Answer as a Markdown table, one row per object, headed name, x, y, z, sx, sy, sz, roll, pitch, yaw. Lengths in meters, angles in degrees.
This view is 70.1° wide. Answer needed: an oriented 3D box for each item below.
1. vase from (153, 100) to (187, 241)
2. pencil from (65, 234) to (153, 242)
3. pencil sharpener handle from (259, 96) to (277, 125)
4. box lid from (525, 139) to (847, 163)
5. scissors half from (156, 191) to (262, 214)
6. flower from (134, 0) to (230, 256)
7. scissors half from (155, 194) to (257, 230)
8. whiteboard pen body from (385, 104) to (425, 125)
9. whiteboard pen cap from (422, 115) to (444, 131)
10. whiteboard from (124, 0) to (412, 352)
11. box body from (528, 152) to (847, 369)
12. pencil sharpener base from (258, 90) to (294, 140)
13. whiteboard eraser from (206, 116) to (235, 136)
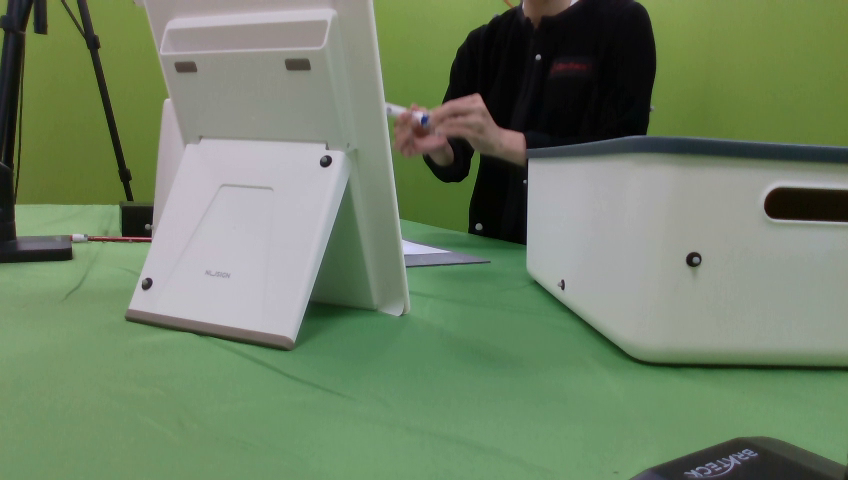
| name | x | y | z | sx | sy | sz | roll | pitch | yaw |
| --- | --- | --- | --- | --- | --- | --- | --- | --- | --- |
| vase | -0.278 | -0.066 | 0.736 | 0.098 | 0.200 | 0.098 | 2 | 9 | 0 |
| pencil | -0.429 | -0.001 | 0.911 | 0.195 | 0.012 | 0.012 | 1 | 8 | -19 |
| pencil sharpener handle | -0.373 | -0.304 | 1.425 | 0.036 | 0.067 | 0.030 | 13 | -1 | -37 |
| box lid | 0.261 | -0.078 | 0.580 | 0.264 | 0.015 | 0.371 | 2 | 7 | -4 |
| scissors half | -0.371 | -0.069 | 1.051 | 0.176 | 0.040 | 0.013 | 2 | 25 | -24 |
| flower | -0.282 | -0.146 | 0.713 | 0.038 | 0.362 | 0.044 | -23 | 23 | -31 |
| scissors half | -0.378 | -0.051 | 1.059 | 0.176 | 0.040 | 0.012 | 20 | 22 | -31 |
| whiteboard pen body | -0.038 | -0.200 | 0.953 | 0.140 | 0.017 | 0.017 | 21 | 15 | 24 |
| whiteboard pen cap | 0.013 | -0.180 | 0.931 | 0.033 | 0.018 | 0.018 | 24 | 14 | 18 |
| whiteboard | -0.151 | -0.049 | 0.472 | 0.216 | 0.305 | 0.144 | 6 | 27 | 24 |
| box body | 0.258 | -0.005 | 0.591 | 0.254 | 0.160 | 0.363 | 2 | 7 | -4 |
| pencil sharpener base | -0.341 | -0.285 | 1.388 | 0.062 | 0.107 | 0.076 | -3 | 9 | -36 |
| whiteboard eraser | -0.449 | -0.251 | 1.335 | 0.056 | 0.042 | 0.112 | 1 | 7 | -22 |
